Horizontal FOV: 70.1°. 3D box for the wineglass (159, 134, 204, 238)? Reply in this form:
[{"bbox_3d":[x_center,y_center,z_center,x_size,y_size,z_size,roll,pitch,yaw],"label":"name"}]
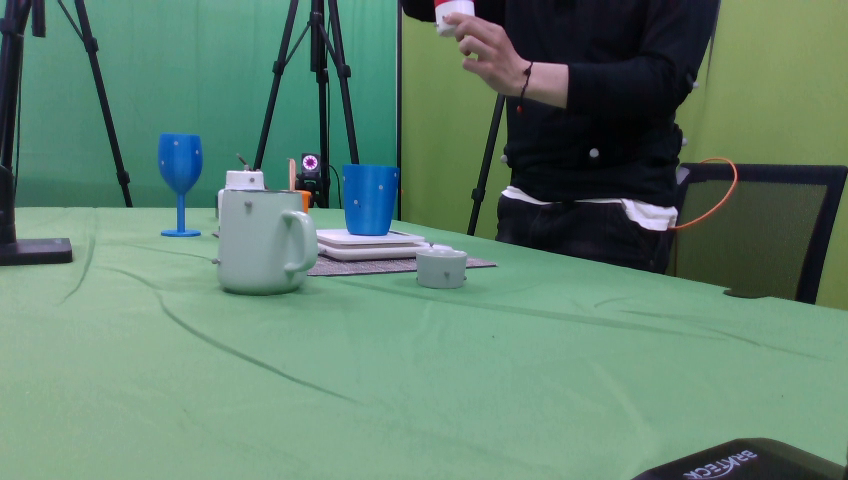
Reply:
[{"bbox_3d":[-0.415,-0.093,1.040,0.074,0.172,0.073,2,7,0],"label":"wineglass"}]

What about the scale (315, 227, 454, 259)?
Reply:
[{"bbox_3d":[-0.066,0.001,0.906,0.202,0.031,0.148,-2,8,-31],"label":"scale"}]

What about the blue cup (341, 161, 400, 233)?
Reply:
[{"bbox_3d":[-0.080,-0.062,0.883,0.093,0.100,0.092,2,4,0],"label":"blue cup"}]

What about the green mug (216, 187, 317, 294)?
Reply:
[{"bbox_3d":[-0.157,0.000,0.629,0.124,0.105,0.093,7,9,37],"label":"green mug"}]

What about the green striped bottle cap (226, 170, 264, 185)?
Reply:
[{"bbox_3d":[-0.222,-0.077,0.748,0.044,0.020,0.044,1,7,0],"label":"green striped bottle cap"}]

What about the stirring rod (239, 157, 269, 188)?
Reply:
[{"bbox_3d":[-0.309,-0.098,1.209,0.006,0.177,0.014,-39,29,-4],"label":"stirring rod"}]

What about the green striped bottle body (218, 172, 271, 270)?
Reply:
[{"bbox_3d":[-0.223,-0.025,0.755,0.063,0.119,0.063,2,7,0],"label":"green striped bottle body"}]

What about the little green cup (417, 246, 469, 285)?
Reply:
[{"bbox_3d":[0.021,0.029,0.701,0.061,0.038,0.061,1,6,0],"label":"little green cup"}]

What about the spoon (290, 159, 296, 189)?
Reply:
[{"bbox_3d":[-0.273,-0.102,1.252,0.042,0.193,0.021,7,-38,-17],"label":"spoon"}]

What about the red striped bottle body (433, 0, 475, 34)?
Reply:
[{"bbox_3d":[0.043,-0.394,0.957,0.063,0.119,0.063,-7,5,1],"label":"red striped bottle body"}]
